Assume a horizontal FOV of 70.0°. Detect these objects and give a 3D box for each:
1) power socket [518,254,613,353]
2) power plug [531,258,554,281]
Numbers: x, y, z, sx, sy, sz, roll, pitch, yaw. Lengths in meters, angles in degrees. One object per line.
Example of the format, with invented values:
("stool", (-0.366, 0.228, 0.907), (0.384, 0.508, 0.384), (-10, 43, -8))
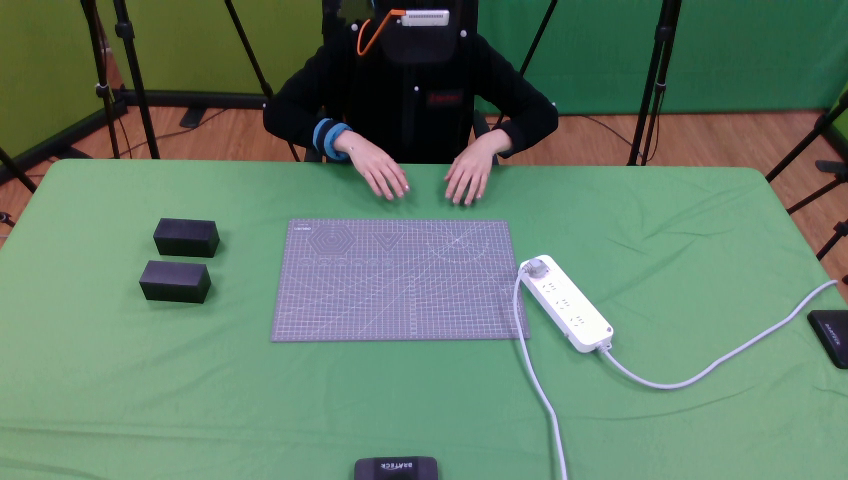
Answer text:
("power socket", (0.252, 0.111, 1.099), (0.072, 0.033, 0.225), (-19, 50, -19))
("power plug", (0.231, 0.059, 1.116), (0.073, 0.035, 0.052), (24, 39, -11))
